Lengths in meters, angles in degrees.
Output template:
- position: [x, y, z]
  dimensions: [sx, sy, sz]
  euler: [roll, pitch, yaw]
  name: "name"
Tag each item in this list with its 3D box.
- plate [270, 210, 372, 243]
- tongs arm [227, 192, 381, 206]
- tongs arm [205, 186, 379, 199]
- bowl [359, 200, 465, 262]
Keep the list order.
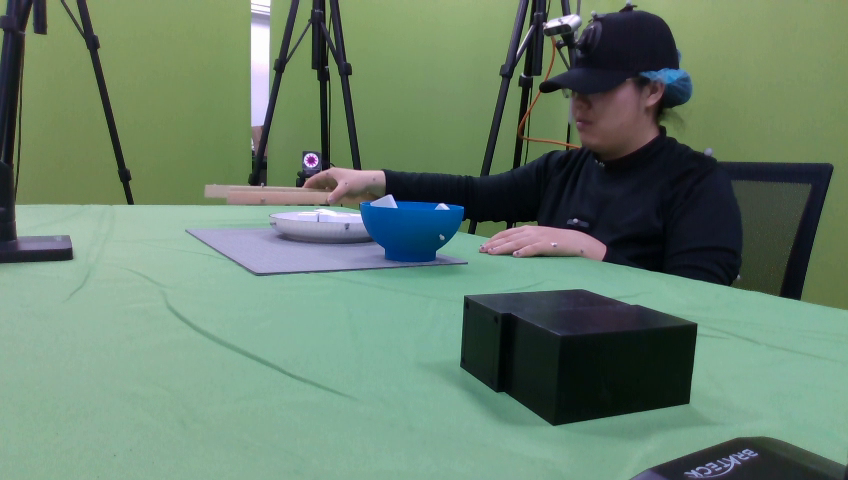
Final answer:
- position: [-0.161, -0.023, 1.054]
  dimensions: [0.208, 0.039, 0.207]
  euler: [2, 7, 0]
  name: "plate"
- position: [-0.226, -0.085, 1.245]
  dimensions: [0.028, 0.028, 0.390]
  euler: [7, 8, 43]
  name: "tongs arm"
- position: [-0.264, -0.096, 1.288]
  dimensions: [0.387, 0.026, 0.050]
  euler: [-3, 11, -40]
  name: "tongs arm"
- position: [-0.018, -0.013, 0.859]
  dimensions: [0.151, 0.077, 0.151]
  euler: [2, 7, 0]
  name: "bowl"
